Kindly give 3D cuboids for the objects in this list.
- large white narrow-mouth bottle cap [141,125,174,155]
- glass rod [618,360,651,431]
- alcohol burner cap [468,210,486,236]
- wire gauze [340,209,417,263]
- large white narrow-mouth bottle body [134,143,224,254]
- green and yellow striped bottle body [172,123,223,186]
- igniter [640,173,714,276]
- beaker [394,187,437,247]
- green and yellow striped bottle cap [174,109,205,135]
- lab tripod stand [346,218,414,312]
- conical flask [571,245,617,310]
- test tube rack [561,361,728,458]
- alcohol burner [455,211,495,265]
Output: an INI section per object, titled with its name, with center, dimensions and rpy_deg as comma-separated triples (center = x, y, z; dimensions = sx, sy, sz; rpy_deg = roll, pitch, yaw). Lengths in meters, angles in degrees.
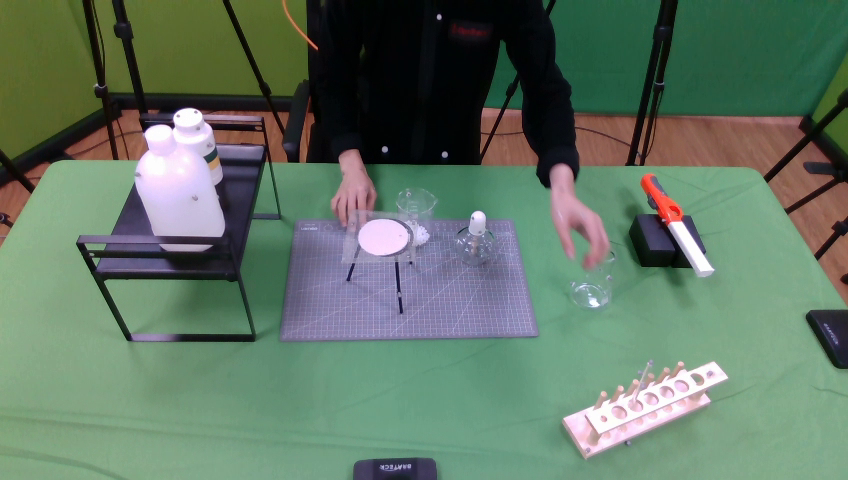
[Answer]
[large white narrow-mouth bottle cap]
center = -0.356, -0.134, 0.810
dimensions = 0.038, 0.024, 0.037
rpy_deg = 2, 48, -2
[glass rod]
center = 0.298, 0.227, 0.865
dimensions = 0.008, 0.201, 0.008
rpy_deg = -1, 48, 2
[alcohol burner cap]
center = 0.100, -0.034, 1.119
dimensions = 0.034, 0.048, 0.033
rpy_deg = 0, 53, 0
[wire gauze]
center = -0.074, -0.007, 1.023
dimensions = 0.121, 0.011, 0.124
rpy_deg = 3, 46, 0
[large white narrow-mouth bottle body]
center = -0.358, -0.075, 0.875
dimensions = 0.102, 0.195, 0.101
rpy_deg = 2, 48, -1
[green and yellow striped bottle body]
center = -0.373, -0.148, 0.994
dimensions = 0.063, 0.120, 0.063
rpy_deg = 2, 46, -2
[igniter]
center = 0.495, -0.039, 1.204
dimensions = 0.057, 0.025, 0.274
rpy_deg = -2, 47, -12
[beaker]
center = -0.018, -0.042, 1.180
dimensions = 0.084, 0.101, 0.073
rpy_deg = -9, 48, -13
[green and yellow striped bottle cap]
center = -0.369, -0.186, 0.954
dimensions = 0.045, 0.020, 0.045
rpy_deg = 3, 50, -3
[lab tripod stand]
center = -0.070, 0.037, 1.075
dimensions = 0.148, 0.132, 0.147
rpy_deg = 1, 47, -1
[conical flask]
center = 0.313, 0.064, 1.089
dimensions = 0.075, 0.122, 0.075
rpy_deg = 2, 46, -2
[test tube rack]
center = 0.341, 0.248, 0.940
dimensions = 0.243, 0.085, 0.066
rpy_deg = -15, 49, -18
[alcohol burner]
center = 0.097, -0.010, 1.148
dimensions = 0.078, 0.120, 0.077
rpy_deg = 0, 47, 0
